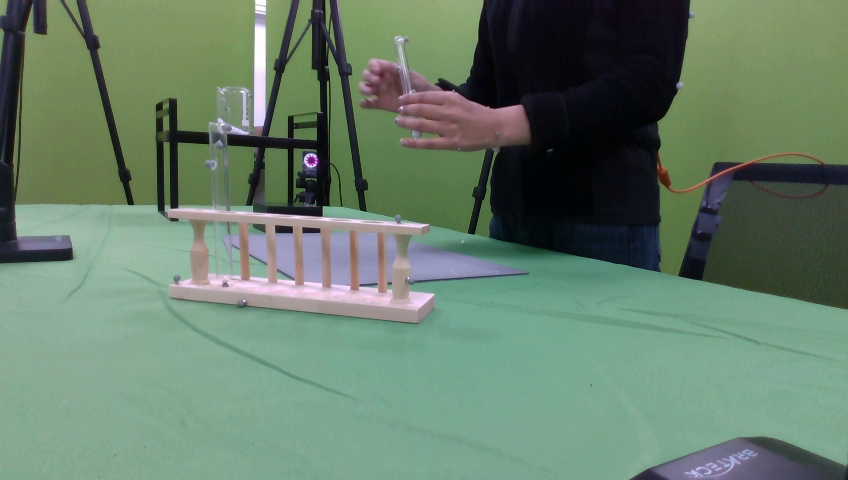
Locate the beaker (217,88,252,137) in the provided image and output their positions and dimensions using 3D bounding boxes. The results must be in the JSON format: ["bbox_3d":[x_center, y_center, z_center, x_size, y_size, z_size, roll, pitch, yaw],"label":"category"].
[{"bbox_3d":[-0.412,-0.276,1.310,0.074,0.100,0.084,4,8,16],"label":"beaker"}]

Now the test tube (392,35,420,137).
[{"bbox_3d":[-0.026,-0.225,0.884,0.017,0.150,0.017,-11,2,1],"label":"test tube"}]

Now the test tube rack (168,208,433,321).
[{"bbox_3d":[-0.116,0.017,0.574,0.242,0.085,0.067,4,8,13],"label":"test tube rack"}]

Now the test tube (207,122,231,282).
[{"bbox_3d":[-0.191,-0.034,0.565,0.017,0.150,0.017,1,11,0],"label":"test tube"}]
